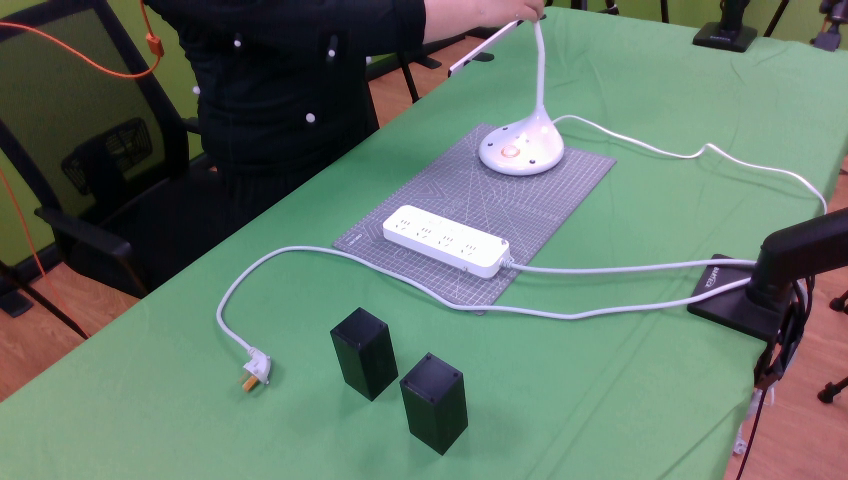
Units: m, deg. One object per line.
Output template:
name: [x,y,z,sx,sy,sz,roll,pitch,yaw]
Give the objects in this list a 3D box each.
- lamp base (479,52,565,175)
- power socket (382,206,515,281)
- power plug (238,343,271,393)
lamp base: [0.182,-0.236,1.094,0.159,0.181,0.179,18,43,27]
power socket: [0.032,0.002,0.950,0.225,0.033,0.072,21,49,29]
power plug: [-0.230,0.172,0.800,0.072,0.035,0.053,7,50,48]
